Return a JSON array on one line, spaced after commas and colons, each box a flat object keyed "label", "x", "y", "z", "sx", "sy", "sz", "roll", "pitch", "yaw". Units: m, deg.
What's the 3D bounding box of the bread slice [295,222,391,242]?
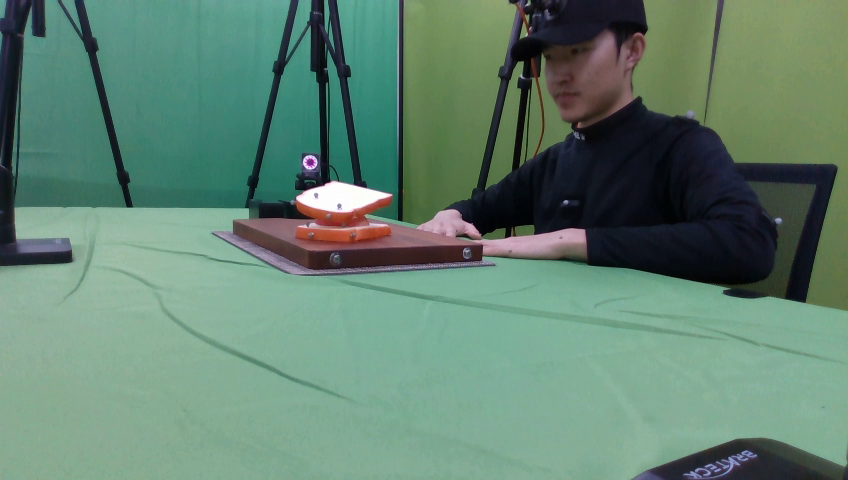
[{"label": "bread slice", "x": -0.122, "y": -0.014, "z": 0.889, "sx": 0.104, "sy": 0.019, "sz": 0.132, "roll": 3, "pitch": 7, "yaw": 23}]

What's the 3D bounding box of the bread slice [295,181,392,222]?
[{"label": "bread slice", "x": -0.121, "y": -0.057, "z": 0.884, "sx": 0.106, "sy": 0.018, "sz": 0.134, "roll": 13, "pitch": 22, "yaw": 19}]
